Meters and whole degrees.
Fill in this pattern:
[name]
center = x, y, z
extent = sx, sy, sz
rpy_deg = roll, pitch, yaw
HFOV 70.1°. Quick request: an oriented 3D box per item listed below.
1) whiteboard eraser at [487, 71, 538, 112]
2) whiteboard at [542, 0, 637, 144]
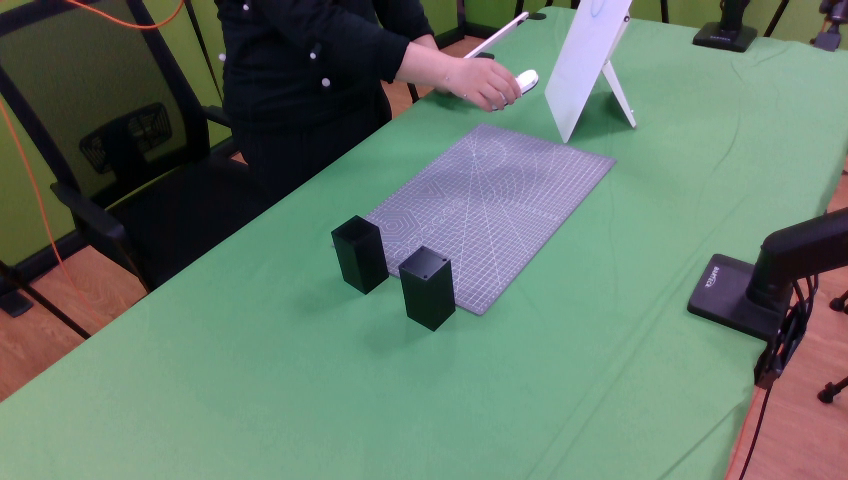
[whiteboard eraser]
center = 0.159, -0.268, 1.088
extent = 0.101, 0.019, 0.041
rpy_deg = -30, 41, 19
[whiteboard]
center = 0.366, -0.351, 1.160
extent = 0.144, 0.305, 0.216
rpy_deg = 10, 39, -10
